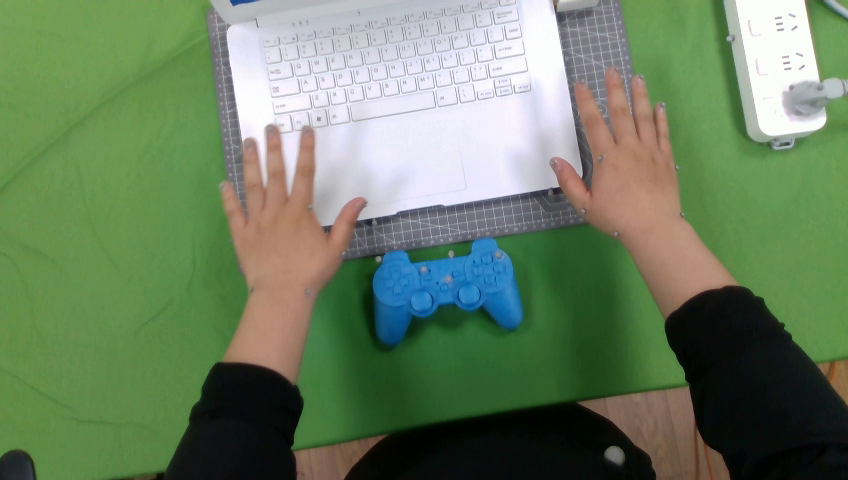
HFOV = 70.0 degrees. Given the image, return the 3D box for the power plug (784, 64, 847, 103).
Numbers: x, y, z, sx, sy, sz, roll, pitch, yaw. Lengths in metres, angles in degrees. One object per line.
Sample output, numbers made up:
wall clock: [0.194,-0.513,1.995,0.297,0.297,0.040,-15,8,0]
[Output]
power plug: [0.399,-0.154,0.606,0.072,0.053,0.035,3,86,-1]

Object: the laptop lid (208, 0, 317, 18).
laptop lid: [-0.055,-0.296,0.541,0.357,0.243,0.013,-11,77,3]

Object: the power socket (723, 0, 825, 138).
power socket: [0.359,-0.221,0.631,0.072,0.032,0.226,-8,86,3]

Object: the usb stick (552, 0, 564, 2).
usb stick: [0.150,-0.267,0.637,0.059,0.027,0.021,-9,87,6]

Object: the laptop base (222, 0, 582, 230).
laptop base: [-0.026,-0.154,0.649,0.354,0.023,0.235,-10,89,1]

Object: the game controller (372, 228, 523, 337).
game controller: [0.021,0.043,0.623,0.155,0.052,0.097,-8,81,1]
